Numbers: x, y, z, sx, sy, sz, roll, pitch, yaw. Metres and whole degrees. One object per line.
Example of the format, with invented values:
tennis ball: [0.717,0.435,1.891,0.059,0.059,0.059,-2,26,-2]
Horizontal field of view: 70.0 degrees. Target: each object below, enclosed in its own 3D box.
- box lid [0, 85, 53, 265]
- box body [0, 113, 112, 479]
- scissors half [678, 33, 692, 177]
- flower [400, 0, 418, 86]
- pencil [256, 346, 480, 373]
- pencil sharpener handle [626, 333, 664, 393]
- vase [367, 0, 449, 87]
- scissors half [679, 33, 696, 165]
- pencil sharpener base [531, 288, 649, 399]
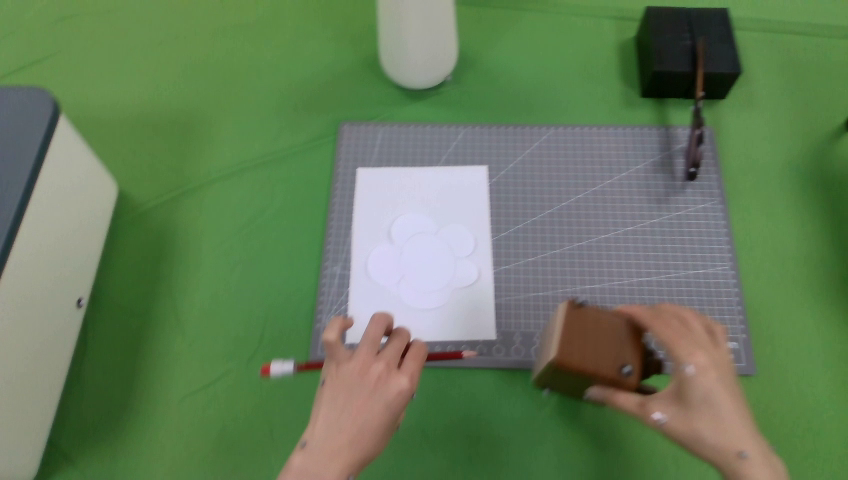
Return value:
box lid: [-0.487,0.015,0.510,0.263,0.015,0.368,1,65,2]
box body: [-0.485,0.049,0.578,0.254,0.161,0.361,1,65,2]
scissors half: [0.302,-0.157,0.697,0.012,0.040,0.174,5,84,19]
flower: [-0.030,-0.316,0.620,0.044,0.365,0.038,-6,47,3]
pencil: [-0.048,0.103,0.526,0.194,0.012,0.012,-5,65,-1]
pencil sharpener handle: [0.192,0.108,0.514,0.030,0.068,0.035,16,51,6]
vase: [-0.021,-0.269,0.690,0.098,0.201,0.097,-1,64,3]
scissors half: [0.297,-0.163,0.678,0.013,0.040,0.174,6,66,14]
pencil sharpener base: [0.145,0.095,0.532,0.076,0.108,0.061,16,68,6]
